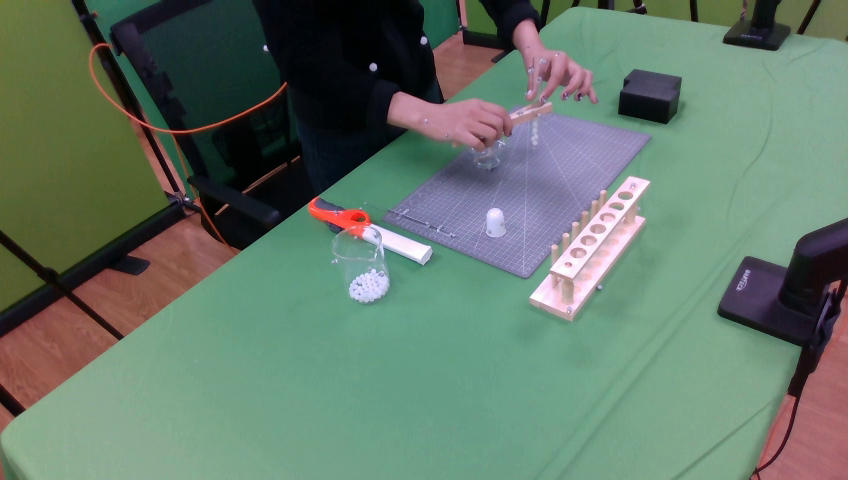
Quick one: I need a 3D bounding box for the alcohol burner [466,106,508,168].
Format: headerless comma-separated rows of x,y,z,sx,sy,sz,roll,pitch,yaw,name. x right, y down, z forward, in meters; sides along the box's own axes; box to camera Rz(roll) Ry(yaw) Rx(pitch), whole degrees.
0.115,-0.193,1.112,0.078,0.119,0.077,-4,41,4,alcohol burner

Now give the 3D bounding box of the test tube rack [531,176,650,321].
0.246,0.002,0.884,0.066,0.085,0.243,22,49,32,test tube rack

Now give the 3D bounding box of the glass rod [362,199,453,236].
-0.031,-0.041,1.041,0.198,0.008,0.008,22,50,31,glass rod

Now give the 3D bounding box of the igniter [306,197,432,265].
-0.102,-0.020,1.019,0.274,0.025,0.057,23,59,32,igniter

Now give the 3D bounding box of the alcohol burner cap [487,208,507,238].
0.116,-0.030,0.975,0.034,0.048,0.033,-6,40,5,alcohol burner cap

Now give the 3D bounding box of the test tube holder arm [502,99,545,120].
0.160,-0.204,0.968,0.088,0.015,0.010,-31,38,-25,test tube holder arm

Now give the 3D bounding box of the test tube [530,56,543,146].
0.179,-0.219,0.965,0.017,0.151,0.017,-3,37,3,test tube

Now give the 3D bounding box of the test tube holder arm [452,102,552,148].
0.124,-0.182,0.949,0.179,0.015,0.013,-24,34,-16,test tube holder arm

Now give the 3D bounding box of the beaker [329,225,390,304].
-0.089,0.040,0.890,0.074,0.101,0.083,-32,45,-24,beaker
